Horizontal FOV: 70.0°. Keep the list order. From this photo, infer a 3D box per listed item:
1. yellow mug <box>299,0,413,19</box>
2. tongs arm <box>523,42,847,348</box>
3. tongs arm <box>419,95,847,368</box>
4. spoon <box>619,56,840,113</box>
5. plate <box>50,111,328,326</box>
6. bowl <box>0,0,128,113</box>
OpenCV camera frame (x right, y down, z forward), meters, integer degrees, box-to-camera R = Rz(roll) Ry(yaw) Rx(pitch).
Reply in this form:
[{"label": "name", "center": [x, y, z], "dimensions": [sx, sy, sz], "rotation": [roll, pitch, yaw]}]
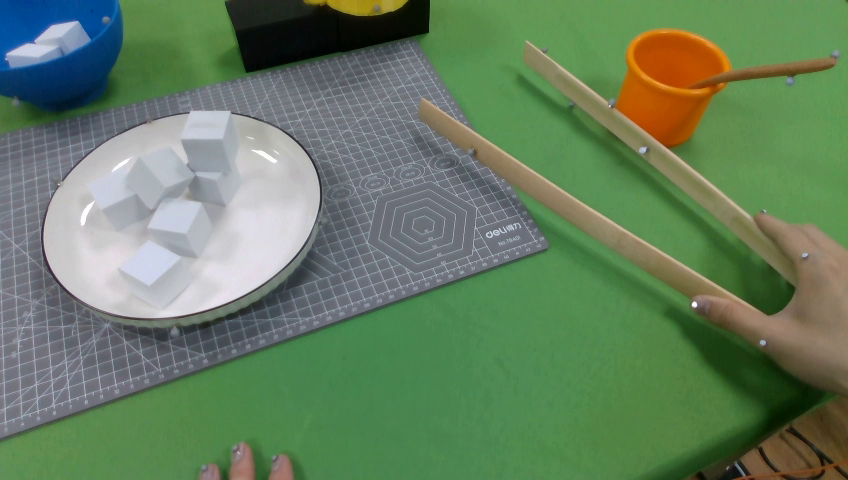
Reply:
[{"label": "yellow mug", "center": [-0.070, -0.269, 0.593], "dimensions": [0.131, 0.064, 0.099], "rotation": [-32, 61, -21]}, {"label": "tongs arm", "center": [0.201, -0.056, 0.521], "dimensions": [0.051, 0.027, 0.381], "rotation": [-29, 61, -26]}, {"label": "tongs arm", "center": [0.143, -0.018, 0.488], "dimensions": [0.385, 0.028, 0.028], "rotation": [36, 53, 21]}, {"label": "spoon", "center": [0.246, -0.133, 0.515], "dimensions": [0.041, 0.192, 0.022], "rotation": [-39, 107, -22]}, {"label": "plate", "center": [-0.179, -0.020, 0.485], "dimensions": [0.208, 0.039, 0.205], "rotation": [1, 54, -1]}, {"label": "bowl", "center": [-0.347, -0.174, 0.569], "dimensions": [0.151, 0.077, 0.150], "rotation": [1, 54, -1]}]
